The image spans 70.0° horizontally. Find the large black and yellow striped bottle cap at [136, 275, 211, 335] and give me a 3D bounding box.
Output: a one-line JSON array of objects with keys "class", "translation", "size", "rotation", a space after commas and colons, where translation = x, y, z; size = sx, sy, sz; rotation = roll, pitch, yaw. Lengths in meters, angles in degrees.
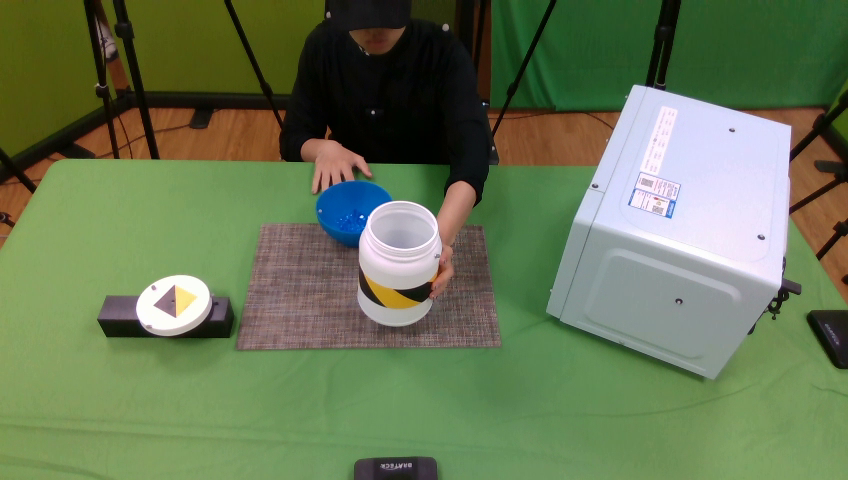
[{"class": "large black and yellow striped bottle cap", "translation": [-0.412, 0.105, 0.999], "size": [0.115, 0.019, 0.114], "rotation": [3, 46, -3]}]

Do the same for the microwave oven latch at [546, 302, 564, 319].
[{"class": "microwave oven latch", "translation": [0.242, 0.102, 1.081], "size": [0.030, 0.029, 0.079], "rotation": [21, 48, 17]}]

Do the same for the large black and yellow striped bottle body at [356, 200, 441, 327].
[{"class": "large black and yellow striped bottle body", "translation": [-0.042, 0.038, 0.977], "size": [0.131, 0.185, 0.130], "rotation": [4, 46, -4]}]

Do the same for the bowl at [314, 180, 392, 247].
[{"class": "bowl", "translation": [-0.135, -0.039, 1.181], "size": [0.151, 0.077, 0.150], "rotation": [2, 46, -2]}]

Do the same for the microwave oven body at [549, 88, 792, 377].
[{"class": "microwave oven body", "translation": [0.456, -0.028, 1.088], "size": [0.325, 0.261, 0.440], "rotation": [20, 47, 16]}]

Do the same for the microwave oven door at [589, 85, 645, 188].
[{"class": "microwave oven door", "translation": [0.341, -0.107, 1.149], "size": [0.039, 0.245, 0.354], "rotation": [20, 48, 15]}]
